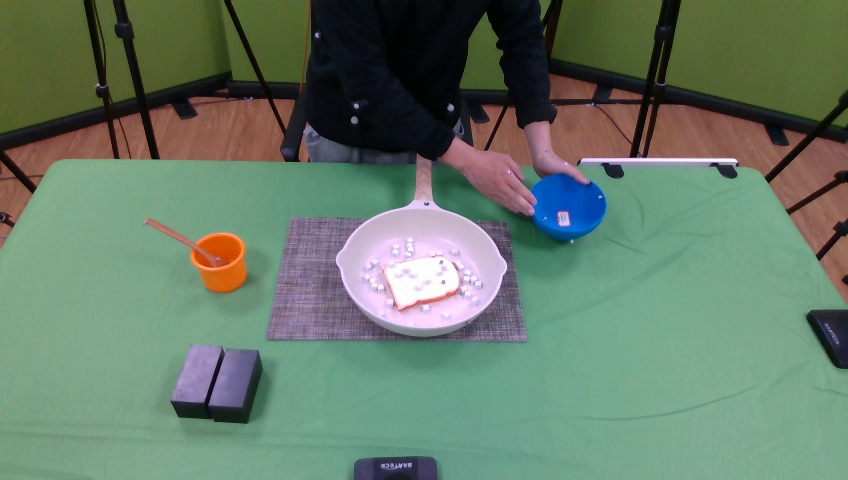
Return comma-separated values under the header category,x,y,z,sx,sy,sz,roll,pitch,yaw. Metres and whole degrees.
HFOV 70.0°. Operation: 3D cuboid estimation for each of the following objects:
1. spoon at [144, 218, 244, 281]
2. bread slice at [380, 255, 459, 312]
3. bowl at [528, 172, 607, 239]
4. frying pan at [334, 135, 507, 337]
category,x,y,z,sx,sy,sz,roll,pitch,yaw
spoon,-0.401,0.016,1.064,0.195,0.021,0.041,41,36,-29
bread slice,-0.005,0.074,1.119,0.134,0.018,0.106,-16,50,-16
bowl,0.279,-0.054,1.205,0.151,0.077,0.150,-2,53,3
frying pan,-0.004,-0.026,1.160,0.307,0.103,0.485,4,55,-2
